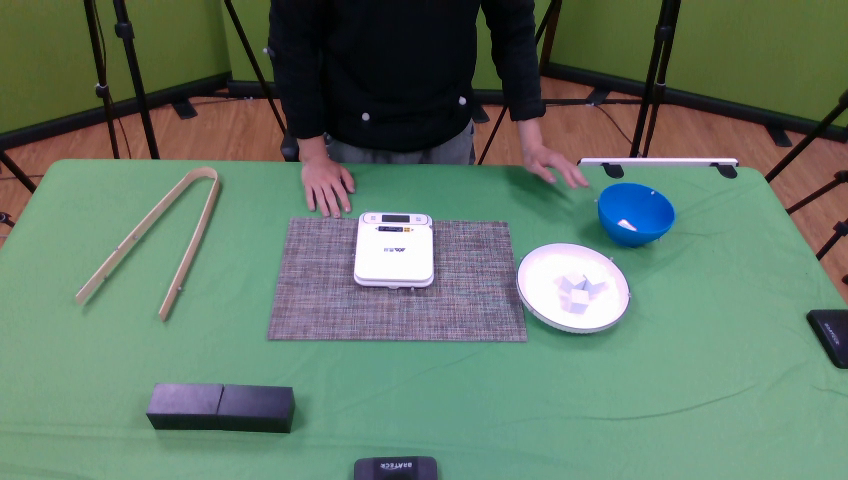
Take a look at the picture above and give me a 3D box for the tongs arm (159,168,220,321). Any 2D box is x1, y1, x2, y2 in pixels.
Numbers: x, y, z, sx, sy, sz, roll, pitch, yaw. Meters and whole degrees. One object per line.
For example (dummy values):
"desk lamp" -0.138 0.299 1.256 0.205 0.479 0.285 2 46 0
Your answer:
"tongs arm" -0.446 -0.007 1.163 0.028 0.028 0.385 1 46 1

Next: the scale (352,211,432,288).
"scale" -0.060 0.010 1.171 0.149 0.032 0.199 2 46 -3

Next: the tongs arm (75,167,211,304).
"tongs arm" -0.526 -0.021 1.167 0.051 0.026 0.383 13 46 7

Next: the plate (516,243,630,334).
"plate" 0.272 0.092 1.120 0.208 0.039 0.206 2 46 -2

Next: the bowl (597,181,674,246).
"bowl" 0.418 -0.042 1.230 0.151 0.077 0.150 2 46 -2
